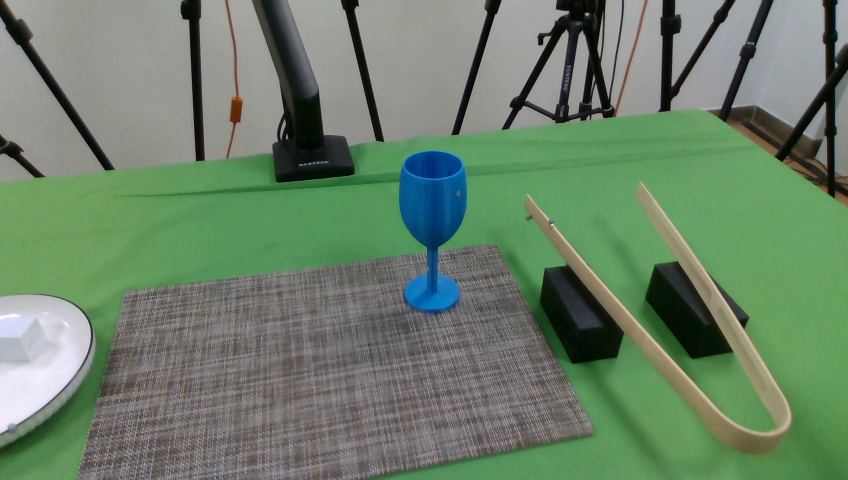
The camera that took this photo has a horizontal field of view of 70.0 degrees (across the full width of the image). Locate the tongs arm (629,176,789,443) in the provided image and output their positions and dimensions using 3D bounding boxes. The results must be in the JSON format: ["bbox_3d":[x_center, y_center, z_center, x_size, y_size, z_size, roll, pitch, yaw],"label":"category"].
[{"bbox_3d":[0.279,0.040,0.636,0.028,0.028,0.383,3,37,-6],"label":"tongs arm"}]

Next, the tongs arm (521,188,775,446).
[{"bbox_3d":[0.199,0.050,0.622,0.051,0.027,0.380,-8,38,-14],"label":"tongs arm"}]

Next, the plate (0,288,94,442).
[{"bbox_3d":[-0.427,0.126,0.582,0.209,0.038,0.207,0,37,0],"label":"plate"}]

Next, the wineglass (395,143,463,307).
[{"bbox_3d":[0.005,-0.013,0.654,0.074,0.174,0.073,0,37,0],"label":"wineglass"}]
